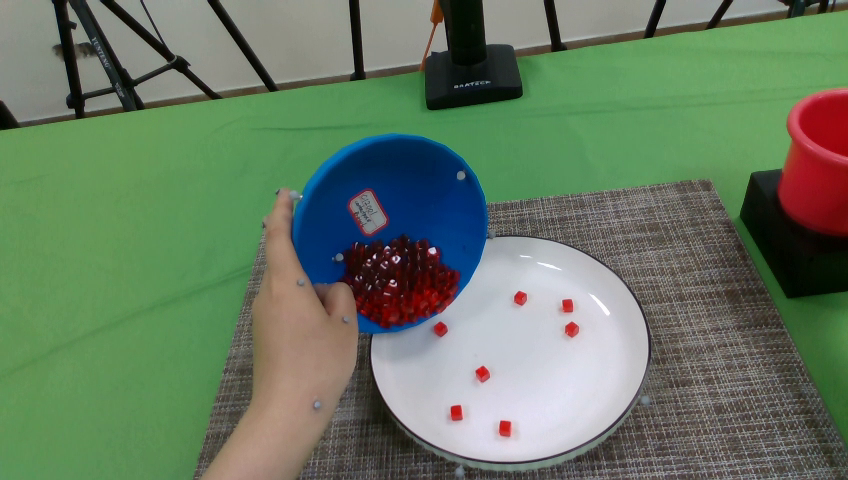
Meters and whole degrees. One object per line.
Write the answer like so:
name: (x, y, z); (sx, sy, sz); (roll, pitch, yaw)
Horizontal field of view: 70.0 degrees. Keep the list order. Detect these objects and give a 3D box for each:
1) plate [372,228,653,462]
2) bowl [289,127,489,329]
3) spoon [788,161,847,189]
plate: (0.065, 0.075, 0.466); (0.207, 0.039, 0.205); (-6, 45, 6)
bowl: (-0.035, -0.017, 0.461); (0.151, 0.153, 0.076); (-27, 30, -15)
spoon: (0.312, -0.057, 0.395); (0.041, 0.194, 0.021); (-25, 86, -5)
